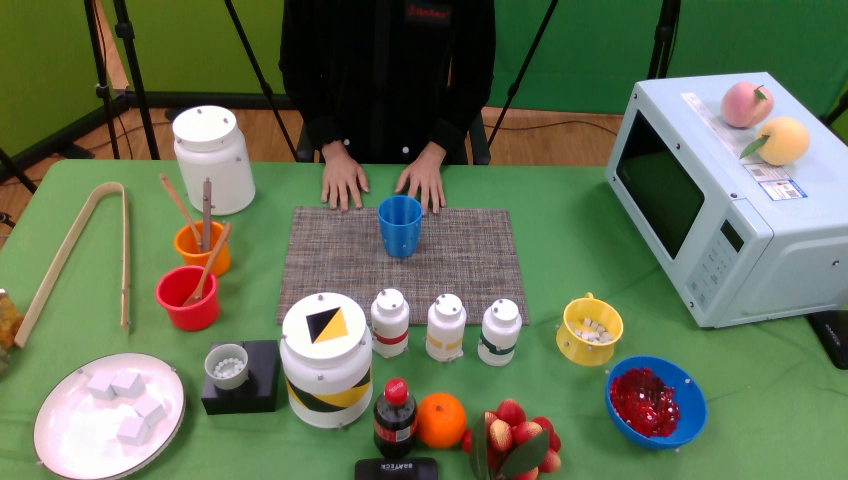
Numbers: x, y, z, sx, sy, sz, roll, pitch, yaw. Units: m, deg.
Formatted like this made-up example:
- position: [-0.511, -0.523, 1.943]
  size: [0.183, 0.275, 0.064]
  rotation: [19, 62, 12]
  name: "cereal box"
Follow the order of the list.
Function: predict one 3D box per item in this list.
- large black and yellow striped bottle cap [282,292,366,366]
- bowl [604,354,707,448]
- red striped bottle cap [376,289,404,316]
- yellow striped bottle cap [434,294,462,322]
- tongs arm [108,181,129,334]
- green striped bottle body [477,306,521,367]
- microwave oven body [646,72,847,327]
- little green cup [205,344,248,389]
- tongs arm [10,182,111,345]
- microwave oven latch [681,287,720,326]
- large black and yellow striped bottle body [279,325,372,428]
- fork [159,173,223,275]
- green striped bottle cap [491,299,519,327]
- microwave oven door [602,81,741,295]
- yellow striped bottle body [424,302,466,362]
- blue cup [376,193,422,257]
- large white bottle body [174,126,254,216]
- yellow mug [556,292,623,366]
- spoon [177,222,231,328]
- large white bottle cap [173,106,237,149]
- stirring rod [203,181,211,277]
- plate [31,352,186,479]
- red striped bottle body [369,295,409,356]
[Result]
- position: [-0.138, 0.121, 0.841]
  size: [0.115, 0.019, 0.114]
  rotation: [3, 47, -3]
  name: "large black and yellow striped bottle cap"
- position: [0.346, 0.261, 0.937]
  size: [0.151, 0.077, 0.150]
  rotation: [2, 46, -2]
  name: "bowl"
- position: [-0.054, 0.098, 0.958]
  size: [0.044, 0.018, 0.044]
  rotation: [0, 48, 1]
  name: "red striped bottle cap"
- position: [0.038, 0.107, 0.958]
  size: [0.044, 0.019, 0.044]
  rotation: [2, 45, -2]
  name: "yellow striped bottle cap"
- position: [-0.571, 0.019, 1.123]
  size: [0.051, 0.026, 0.382]
  rotation: [-11, 47, -11]
  name: "tongs arm"
- position: [0.124, 0.151, 0.995]
  size: [0.063, 0.120, 0.063]
  rotation: [2, 46, -2]
  name: "green striped bottle body"
- position: [0.607, -0.090, 1.164]
  size: [0.326, 0.261, 0.438]
  rotation: [-7, 46, -10]
  name: "microwave oven body"
- position: [-0.294, 0.191, 0.909]
  size: [0.061, 0.039, 0.061]
  rotation: [1, 47, -1]
  name: "little green cup"
- position: [-0.658, 0.027, 1.109]
  size: [0.028, 0.028, 0.385]
  rotation: [-2, 45, 2]
  name: "tongs arm"
- position: [0.494, 0.119, 1.087]
  size: [0.030, 0.029, 0.078]
  rotation: [-5, 46, -8]
  name: "microwave oven latch"
- position: [-0.143, 0.181, 0.900]
  size: [0.131, 0.185, 0.130]
  rotation: [2, 46, -2]
  name: "large black and yellow striped bottle body"
- position: [-0.426, -0.029, 1.103]
  size: [0.028, 0.018, 0.207]
  rotation: [-31, 99, -30]
  name: "fork"
- position: [0.128, 0.115, 0.958]
  size: [0.044, 0.020, 0.044]
  rotation: [1, 46, -1]
  name: "green striped bottle cap"
- position: [0.456, -0.107, 1.162]
  size: [0.039, 0.245, 0.353]
  rotation: [-6, 47, -11]
  name: "microwave oven door"
- position: [0.035, 0.143, 0.995]
  size: [0.063, 0.121, 0.062]
  rotation: [3, 46, -3]
  name: "yellow striped bottle body"
- position: [-0.047, -0.021, 1.155]
  size: [0.093, 0.101, 0.092]
  rotation: [1, 47, -1]
  name: "blue cup"
- position: [-0.415, -0.154, 1.199]
  size: [0.131, 0.185, 0.130]
  rotation: [2, 46, -2]
  name: "large white bottle body"
- position: [0.285, 0.145, 1.051]
  size: [0.100, 0.064, 0.130]
  rotation: [7, 46, 3]
  name: "yellow mug"
- position: [-0.369, 0.059, 1.027]
  size: [0.041, 0.022, 0.193]
  rotation: [25, 94, 19]
  name: "spoon"
- position: [-0.411, -0.212, 1.138]
  size: [0.115, 0.018, 0.114]
  rotation: [2, 47, -2]
  name: "large white bottle cap"
- position: [-0.396, -0.021, 1.107]
  size: [0.014, 0.006, 0.176]
  rotation: [0, 89, -2]
  name: "stirring rod"
- position: [-0.459, 0.262, 0.898]
  size: [0.209, 0.038, 0.208]
  rotation: [2, 46, -2]
  name: "plate"
- position: [-0.059, 0.134, 0.997]
  size: [0.063, 0.120, 0.062]
  rotation: [5, 48, -5]
  name: "red striped bottle body"
